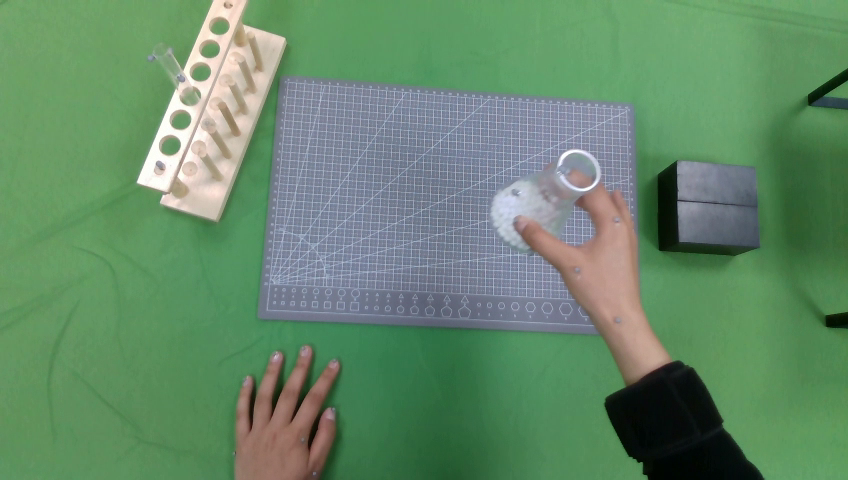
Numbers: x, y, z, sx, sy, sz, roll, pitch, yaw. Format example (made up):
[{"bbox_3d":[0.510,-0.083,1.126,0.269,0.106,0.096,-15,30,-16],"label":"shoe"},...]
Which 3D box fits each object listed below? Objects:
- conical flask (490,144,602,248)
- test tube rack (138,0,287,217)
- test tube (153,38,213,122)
[{"bbox_3d":[0.109,-0.042,0.524,0.075,0.122,0.075,3,74,-12],"label":"conical flask"},{"bbox_3d":[-0.233,-0.158,0.688,0.067,0.085,0.241,17,77,-2],"label":"test tube rack"},{"bbox_3d":[-0.250,-0.163,0.637,0.017,0.151,0.017,1,74,-3],"label":"test tube"}]
